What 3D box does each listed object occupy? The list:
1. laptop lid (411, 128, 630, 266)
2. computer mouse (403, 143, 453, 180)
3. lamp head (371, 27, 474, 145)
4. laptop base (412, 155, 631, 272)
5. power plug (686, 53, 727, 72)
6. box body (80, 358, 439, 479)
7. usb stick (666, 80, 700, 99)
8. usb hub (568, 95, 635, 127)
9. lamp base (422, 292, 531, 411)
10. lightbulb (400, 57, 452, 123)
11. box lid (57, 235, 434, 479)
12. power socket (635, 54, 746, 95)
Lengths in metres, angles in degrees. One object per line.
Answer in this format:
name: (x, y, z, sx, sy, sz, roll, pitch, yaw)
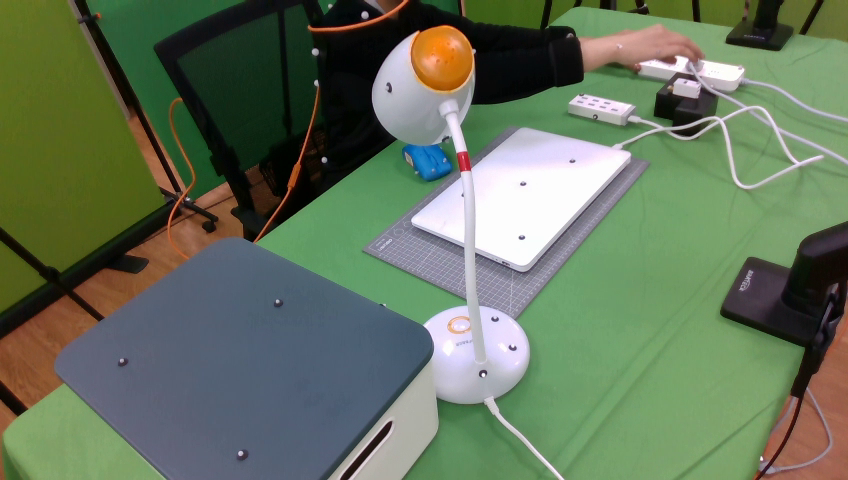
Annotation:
laptop lid: (0.172, -0.093, 1.049, 0.239, 0.013, 0.358, 24, 49, 36)
computer mouse: (0.006, -0.159, 1.165, 0.063, 0.041, 0.116, -21, 45, -16)
lamp head: (0.007, -0.167, 0.644, 0.113, 0.112, 0.122, -22, 2, -14)
laptop base: (0.176, -0.083, 1.055, 0.233, 0.023, 0.355, 21, 48, 36)
power plug: (0.585, -0.362, 1.261, 0.072, 0.053, 0.035, 13, 57, 17)
box body: (-0.189, 0.178, 0.702, 0.361, 0.161, 0.255, 22, 49, 32)
usb stick: (0.492, -0.288, 1.152, 0.058, 0.027, 0.021, 19, 50, 34)
usb hub: (0.360, -0.263, 1.229, 0.124, 0.025, 0.049, 25, 49, 33)
lamp base: (0.055, 0.095, 0.740, 0.161, 0.181, 0.177, -19, 43, -11)
lightbulb: (0.004, -0.169, 0.668, 0.059, 0.108, 0.059, 1, 79, -3)
box lid: (-0.198, 0.123, 0.653, 0.368, 0.015, 0.264, 22, 49, 32)
power socket: (0.565, -0.357, 1.293, 0.225, 0.033, 0.072, 24, 51, 33)
